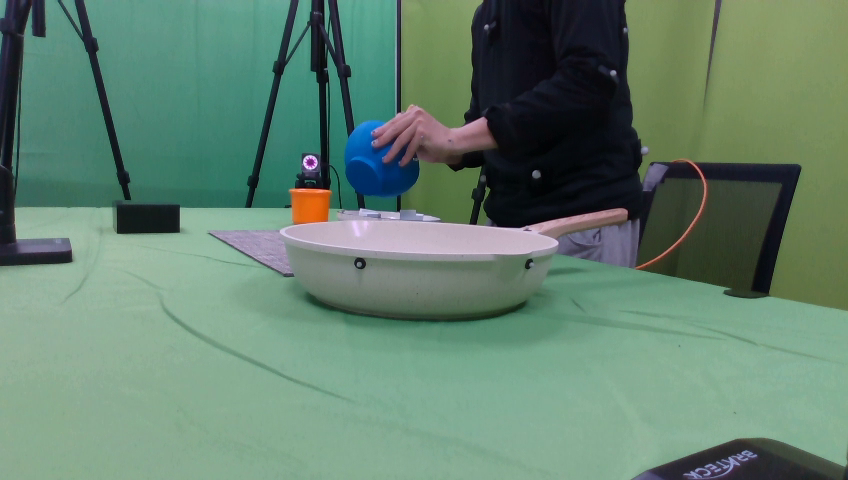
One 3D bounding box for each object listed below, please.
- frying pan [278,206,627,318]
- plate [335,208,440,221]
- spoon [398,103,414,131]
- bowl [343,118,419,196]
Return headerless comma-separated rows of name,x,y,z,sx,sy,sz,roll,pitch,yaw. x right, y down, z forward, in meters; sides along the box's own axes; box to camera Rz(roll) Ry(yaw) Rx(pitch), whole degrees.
frying pan,0.079,0.002,0.705,0.490,0.102,0.305,-12,15,-33
plate,-0.073,-0.035,1.196,0.208,0.039,0.207,5,6,0
spoon,-0.057,-0.192,1.132,0.041,0.022,0.194,6,49,24
bowl,-0.093,-0.134,1.091,0.150,0.151,0.077,7,39,32
